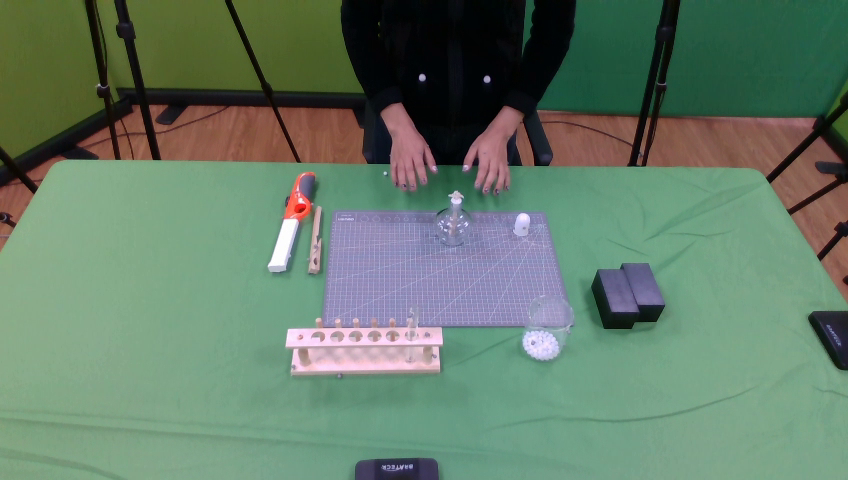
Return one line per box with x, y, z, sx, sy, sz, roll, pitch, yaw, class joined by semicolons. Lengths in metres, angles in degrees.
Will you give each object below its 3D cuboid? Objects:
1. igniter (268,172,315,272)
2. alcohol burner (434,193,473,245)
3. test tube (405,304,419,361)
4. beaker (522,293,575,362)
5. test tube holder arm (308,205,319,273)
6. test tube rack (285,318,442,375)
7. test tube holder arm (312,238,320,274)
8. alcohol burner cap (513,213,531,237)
-0.264;-0.045;1.219;0.057;0.025;0.275;-2;46;8;igniter
0.059;-0.047;1.180;0.078;0.120;0.077;1;48;-1;alcohol burner
-0.019;0.147;0.942;0.017;0.151;0.017;2;50;-2;test tube
0.203;0.151;1.014;0.084;0.101;0.073;-28;53;-26;beaker
-0.216;-0.005;1.188;0.013;0.015;0.177;25;38;-30;test tube holder arm
-0.095;0.168;0.986;0.242;0.085;0.066;0;46;-4;test tube rack
-0.207;0.029;1.160;0.010;0.015;0.087;25;37;-29;test tube holder arm
0.200;-0.034;1.227;0.034;0.048;0.033;2;46;-1;alcohol burner cap
